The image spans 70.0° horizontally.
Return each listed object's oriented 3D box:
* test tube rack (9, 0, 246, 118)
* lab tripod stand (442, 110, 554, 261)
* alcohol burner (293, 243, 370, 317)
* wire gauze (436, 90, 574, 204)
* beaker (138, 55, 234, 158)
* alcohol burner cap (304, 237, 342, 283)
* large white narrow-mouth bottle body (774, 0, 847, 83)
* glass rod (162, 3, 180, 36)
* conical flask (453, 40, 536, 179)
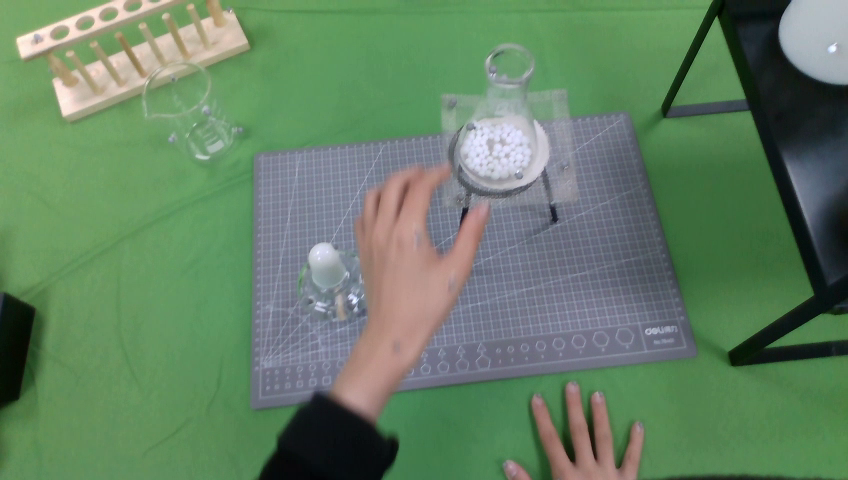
[{"bbox_3d":[-0.356,-0.245,0.744,0.242,0.086,0.066,-25,68,-9],"label":"test tube rack"},{"bbox_3d":[0.068,-0.059,0.618,0.148,0.132,0.147,0,65,1],"label":"lab tripod stand"},{"bbox_3d":[-0.094,0.033,0.596,0.078,0.120,0.077,0,65,0],"label":"alcohol burner"},{"bbox_3d":[0.072,-0.090,0.560,0.121,0.011,0.124,0,65,-1],"label":"wire gauze"},{"bbox_3d":[-0.268,-0.145,0.690,0.073,0.101,0.084,38,73,17],"label":"beaker"},{"bbox_3d":[-0.096,0.016,0.563,0.034,0.048,0.033,0,60,0],"label":"alcohol burner cap"},{"bbox_3d":[0.353,-0.215,0.449,0.102,0.196,0.101,-1,64,2],"label":"large white narrow-mouth bottle body"},{"bbox_3d":[-0.315,-0.309,0.697,0.008,0.201,0.008,1,64,-2],"label":"glass rod"},{"bbox_3d":[0.062,-0.110,0.504,0.075,0.123,0.075,-1,66,2],"label":"conical flask"}]
